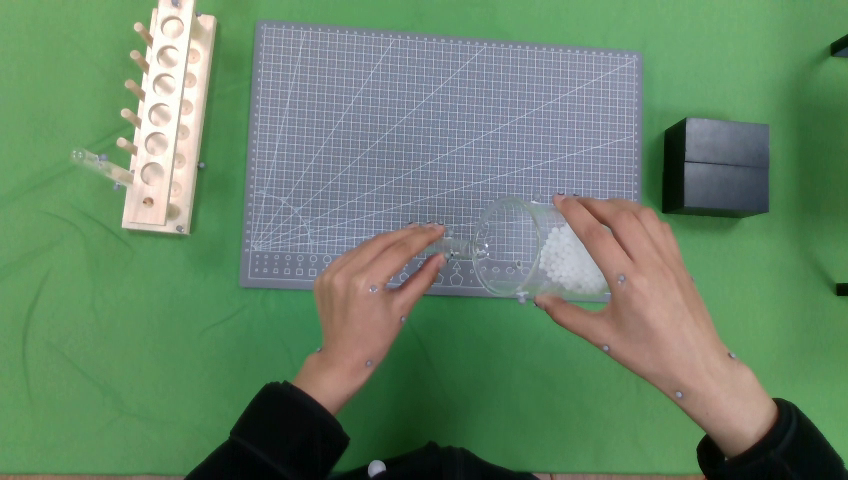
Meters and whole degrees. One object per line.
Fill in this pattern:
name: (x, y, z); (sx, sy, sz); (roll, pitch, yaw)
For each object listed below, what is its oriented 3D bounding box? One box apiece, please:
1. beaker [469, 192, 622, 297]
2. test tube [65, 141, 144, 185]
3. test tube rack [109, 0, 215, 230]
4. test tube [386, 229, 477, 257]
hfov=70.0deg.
beaker: (0.095, 0.008, 0.470); (0.101, 0.083, 0.074); (6, 80, -33)
test tube: (-0.295, -0.069, 0.567); (0.017, 0.150, 0.017); (0, 86, -6)
test tube rack: (-0.272, -0.137, 0.620); (0.067, 0.085, 0.241); (6, 85, -5)
test tube: (0.001, 0.001, 0.542); (0.017, 0.149, 0.017); (-3, 95, -28)
